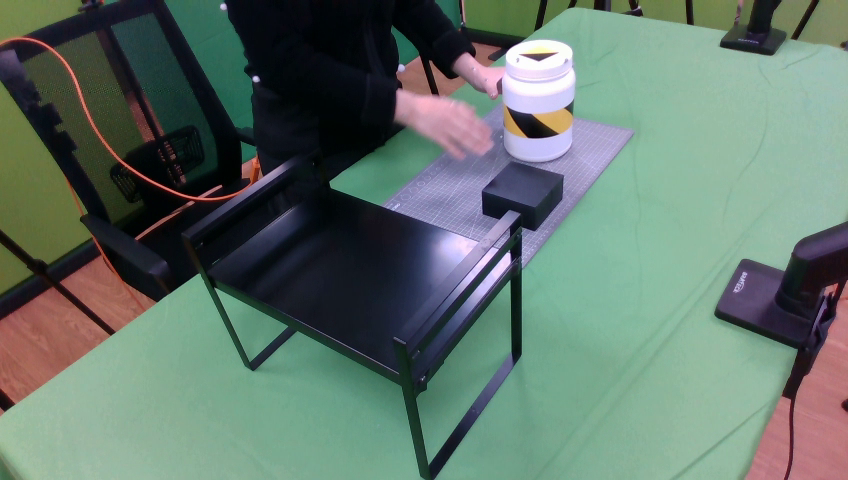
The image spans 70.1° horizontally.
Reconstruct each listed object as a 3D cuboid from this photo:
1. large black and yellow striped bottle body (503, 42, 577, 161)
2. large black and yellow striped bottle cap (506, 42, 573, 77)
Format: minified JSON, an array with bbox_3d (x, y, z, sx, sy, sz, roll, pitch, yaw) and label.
[{"bbox_3d":[0.212,-0.254,1.111,0.131,0.185,0.130,-5,41,5],"label":"large black and yellow striped bottle body"},{"bbox_3d":[0.201,-0.317,1.056,0.115,0.019,0.114,-3,40,3],"label":"large black and yellow striped bottle cap"}]
